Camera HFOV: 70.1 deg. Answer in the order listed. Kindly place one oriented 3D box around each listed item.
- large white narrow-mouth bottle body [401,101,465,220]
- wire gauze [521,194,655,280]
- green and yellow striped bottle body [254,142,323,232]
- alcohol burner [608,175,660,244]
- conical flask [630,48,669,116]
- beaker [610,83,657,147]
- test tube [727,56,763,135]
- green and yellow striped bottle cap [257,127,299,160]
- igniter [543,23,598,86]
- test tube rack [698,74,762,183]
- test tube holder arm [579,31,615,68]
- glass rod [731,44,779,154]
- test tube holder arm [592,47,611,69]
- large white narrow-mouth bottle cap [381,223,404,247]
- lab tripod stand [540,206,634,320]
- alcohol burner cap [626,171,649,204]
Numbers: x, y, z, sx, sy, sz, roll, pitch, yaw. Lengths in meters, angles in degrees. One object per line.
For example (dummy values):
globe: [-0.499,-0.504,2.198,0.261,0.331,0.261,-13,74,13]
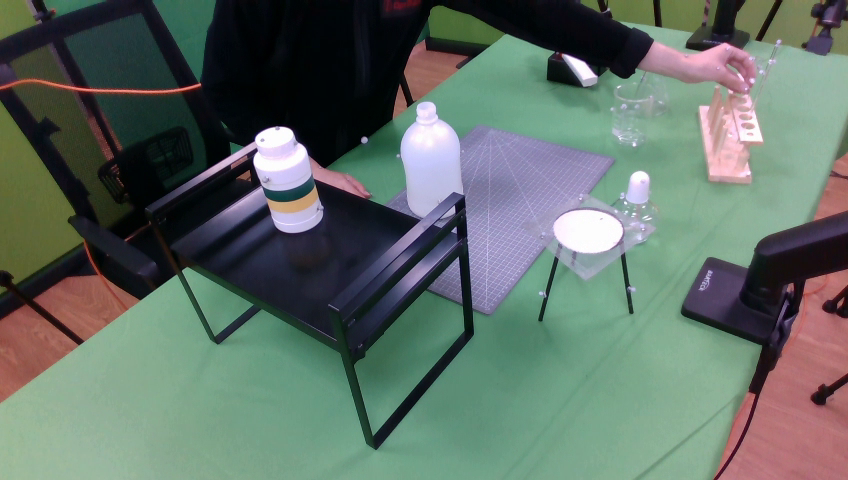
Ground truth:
large white narrow-mouth bottle body: [0.013,-0.136,0.999,0.102,0.195,0.101,-5,39,5]
wire gauze: [0.207,-0.012,0.772,0.122,0.011,0.124,-28,44,-20]
green and yellow striped bottle body: [-0.165,-0.073,0.732,0.063,0.120,0.063,-4,41,4]
alcohol burner: [0.322,-0.053,0.924,0.078,0.119,0.077,-4,42,4]
conical flask: [0.457,-0.317,1.205,0.075,0.122,0.075,-4,41,4]
beaker: [0.388,-0.235,1.138,0.074,0.101,0.083,-31,45,-25]
test tube: [0.565,-0.252,1.066,0.017,0.151,0.017,-1,43,1]
green and yellow striped bottle cap: [-0.169,-0.112,0.698,0.045,0.020,0.045,-5,40,5]
igniter: [0.320,-0.419,1.344,0.057,0.025,0.274,-12,44,-3]
test tube rack: [0.547,-0.208,1.094,0.066,0.085,0.242,6,42,14]
test tube holder arm: [0.384,-0.428,1.351,0.013,0.015,0.177,-10,41,-4]
glass rod: [0.557,-0.233,1.020,0.008,0.200,0.008,2,39,-1]
test tube holder arm: [0.386,-0.398,1.317,0.010,0.015,0.087,-10,41,-3]
large white narrow-mouth bottle cap: [-0.052,-0.008,0.992,0.038,0.024,0.037,-5,39,4]
lab tripod stand: [0.217,0.034,0.821,0.148,0.132,0.147,-4,42,4]
alcohol burner cap: [0.320,-0.081,0.900,0.034,0.048,0.033,-4,42,4]
